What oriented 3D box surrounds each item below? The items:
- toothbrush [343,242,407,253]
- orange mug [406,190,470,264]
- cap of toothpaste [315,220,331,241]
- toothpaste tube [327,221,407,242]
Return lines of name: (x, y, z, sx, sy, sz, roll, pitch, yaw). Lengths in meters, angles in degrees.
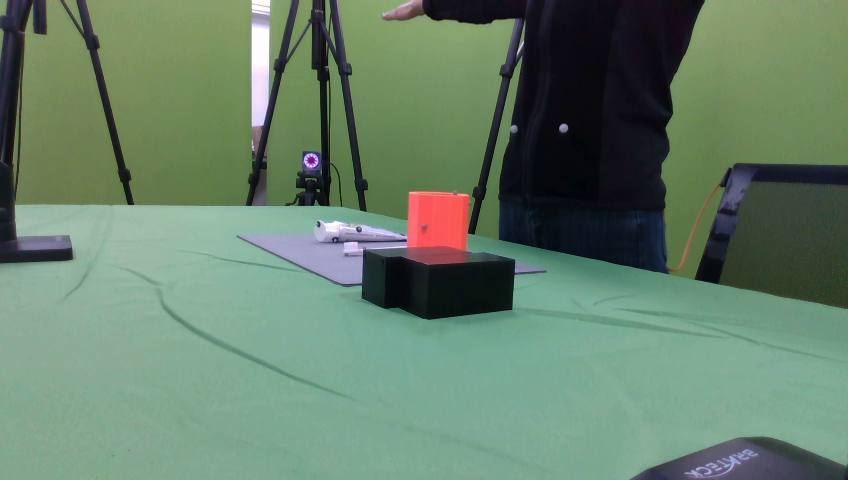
toothbrush: (-0.039, 0.010, 0.905, 0.183, 0.016, 0.014, -1, -7, -35)
orange mug: (0.027, -0.023, 0.866, 0.083, 0.101, 0.126, 5, 12, 24)
cap of toothpaste: (-0.164, -0.016, 0.982, 0.011, 0.037, 0.037, -8, 12, -43)
toothpaste tube: (-0.095, -0.013, 1.026, 0.166, 0.034, 0.055, 2, 13, -33)
